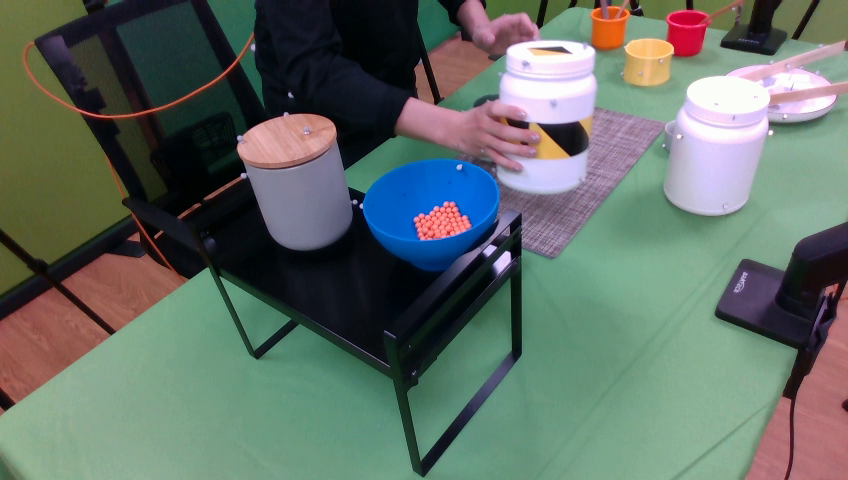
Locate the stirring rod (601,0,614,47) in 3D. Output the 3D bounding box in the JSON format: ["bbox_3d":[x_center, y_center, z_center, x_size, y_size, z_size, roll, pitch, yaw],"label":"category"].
[{"bbox_3d":[0.439,-0.552,1.463,0.014,0.006,0.175,-7,83,3],"label":"stirring rod"}]

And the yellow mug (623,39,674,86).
[{"bbox_3d":[0.484,-0.398,1.334,0.100,0.064,0.130,-18,40,-11],"label":"yellow mug"}]

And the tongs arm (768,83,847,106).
[{"bbox_3d":[0.739,-0.281,1.134,0.388,0.028,0.028,-9,47,-5],"label":"tongs arm"}]

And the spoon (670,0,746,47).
[{"bbox_3d":[0.629,-0.485,1.350,0.022,0.193,0.042,48,54,-7],"label":"spoon"}]

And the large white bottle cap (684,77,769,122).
[{"bbox_3d":[0.448,-0.209,0.898,0.115,0.018,0.114,-4,40,4],"label":"large white bottle cap"}]

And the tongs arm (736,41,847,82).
[{"bbox_3d":[0.712,-0.332,1.194,0.386,0.026,0.050,-19,45,-16],"label":"tongs arm"}]

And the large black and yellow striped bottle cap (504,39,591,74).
[{"bbox_3d":[0.164,-0.246,0.807,0.115,0.019,0.114,-3,31,2],"label":"large black and yellow striped bottle cap"}]

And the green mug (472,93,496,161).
[{"bbox_3d":[0.144,-0.201,1.122,0.093,0.105,0.124,-29,45,-23],"label":"green mug"}]

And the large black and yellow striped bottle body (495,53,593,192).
[{"bbox_3d":[0.166,-0.174,0.850,0.131,0.184,0.130,-2,30,1],"label":"large black and yellow striped bottle body"}]

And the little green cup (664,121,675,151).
[{"bbox_3d":[0.473,-0.188,1.113,0.061,0.039,0.061,-5,40,5],"label":"little green cup"}]

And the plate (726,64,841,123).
[{"bbox_3d":[0.695,-0.282,1.189,0.207,0.039,0.206,-4,40,4],"label":"plate"}]

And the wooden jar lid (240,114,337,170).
[{"bbox_3d":[-0.149,-0.106,0.673,0.108,0.021,0.108,-6,38,5],"label":"wooden jar lid"}]

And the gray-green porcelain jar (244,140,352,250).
[{"bbox_3d":[-0.144,-0.060,0.714,0.106,0.127,0.105,-4,41,4],"label":"gray-green porcelain jar"}]

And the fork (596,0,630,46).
[{"bbox_3d":[0.481,-0.556,1.453,0.028,0.019,0.207,40,103,38],"label":"fork"}]

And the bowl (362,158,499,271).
[{"bbox_3d":[0.011,-0.019,0.679,0.151,0.077,0.150,-5,41,5],"label":"bowl"}]

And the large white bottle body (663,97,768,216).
[{"bbox_3d":[0.458,-0.146,0.952,0.130,0.185,0.130,-4,40,4],"label":"large white bottle body"}]
